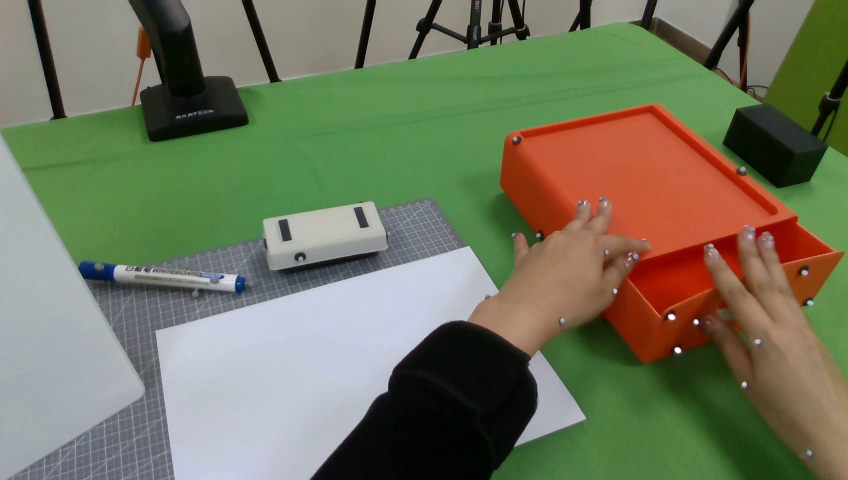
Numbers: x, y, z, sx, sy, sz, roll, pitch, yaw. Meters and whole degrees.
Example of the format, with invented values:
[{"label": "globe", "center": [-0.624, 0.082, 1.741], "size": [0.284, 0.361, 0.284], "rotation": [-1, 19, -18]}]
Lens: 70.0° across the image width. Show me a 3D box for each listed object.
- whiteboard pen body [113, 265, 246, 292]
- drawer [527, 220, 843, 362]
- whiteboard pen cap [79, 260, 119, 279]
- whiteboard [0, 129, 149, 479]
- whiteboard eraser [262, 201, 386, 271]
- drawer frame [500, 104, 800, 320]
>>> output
[{"label": "whiteboard pen body", "center": [-0.234, 0.034, 0.553], "size": [0.141, 0.017, 0.017], "rotation": [5, 42, -2]}, {"label": "drawer", "center": [0.233, -0.004, 0.582], "size": [0.195, 0.074, 0.209], "rotation": [-15, 43, -17]}, {"label": "whiteboard pen cap", "center": [-0.294, 0.027, 0.551], "size": [0.033, 0.018, 0.018], "rotation": [5, 42, -4]}, {"label": "whiteboard", "center": [-0.367, 0.023, 0.394], "size": [0.217, 0.308, 0.142], "rotation": [-32, 33, -31]}, {"label": "whiteboard eraser", "center": [-0.097, -0.002, 0.585], "size": [0.113, 0.042, 0.055], "rotation": [-11, 43, -15]}, {"label": "drawer frame", "center": [0.213, -0.039, 0.615], "size": [0.202, 0.083, 0.211], "rotation": [-15, 45, -16]}]
